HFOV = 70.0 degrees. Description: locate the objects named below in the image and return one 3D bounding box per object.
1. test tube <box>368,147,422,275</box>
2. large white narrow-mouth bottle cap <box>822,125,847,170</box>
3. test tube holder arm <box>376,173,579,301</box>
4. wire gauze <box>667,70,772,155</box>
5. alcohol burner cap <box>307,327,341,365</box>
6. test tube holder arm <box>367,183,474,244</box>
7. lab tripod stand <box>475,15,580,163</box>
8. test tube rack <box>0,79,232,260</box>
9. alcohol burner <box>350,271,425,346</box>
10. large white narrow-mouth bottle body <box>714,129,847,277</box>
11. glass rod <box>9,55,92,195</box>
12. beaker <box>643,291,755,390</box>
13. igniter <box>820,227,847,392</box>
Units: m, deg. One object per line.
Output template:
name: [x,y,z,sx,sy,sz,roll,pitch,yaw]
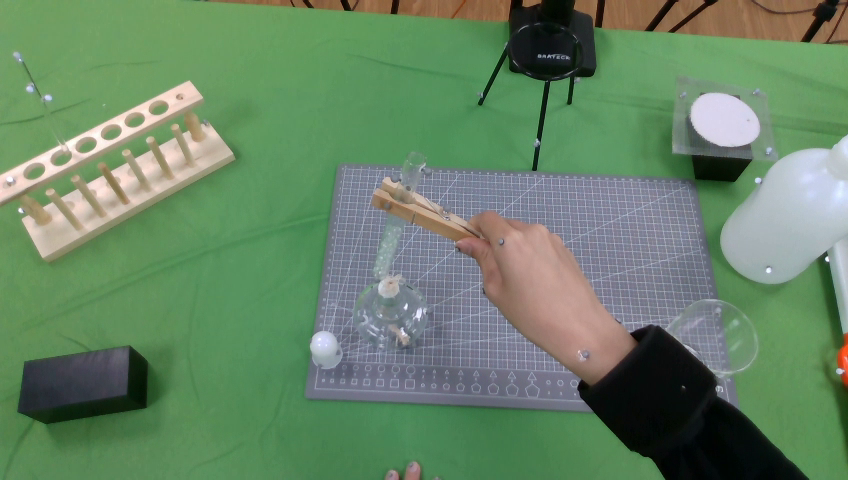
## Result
test tube: [-0.026,-0.018,0.495,0.017,0.151,0.017,9,51,-11]
large white narrow-mouth bottle cap: [0.394,-0.086,0.564,0.038,0.024,0.037,1,61,-1]
test tube holder arm: [0.040,-0.003,0.469,0.178,0.015,0.013,29,51,7]
wire gauze: [0.362,-0.157,0.749,0.121,0.011,0.124,9,62,4]
alcohol burner cap: [-0.105,0.108,0.628,0.034,0.048,0.033,0,63,1]
test tube holder arm: [-0.002,-0.020,0.470,0.088,0.015,0.010,23,50,2]
lab tripod stand: [0.135,-0.191,0.746,0.148,0.132,0.147,1,63,-2]
test tube rack: [-0.357,-0.084,0.702,0.242,0.086,0.066,-34,68,-18]
alcohol burner: [-0.037,0.063,0.613,0.078,0.120,0.077,2,60,-3]
large white narrow-mouth bottle body: [0.393,-0.043,0.639,0.102,0.196,0.101,1,61,-1]
glass rod: [-0.390,-0.111,0.641,0.008,0.201,0.008,3,53,-4]
beaker: [0.266,0.105,0.607,0.084,0.101,0.073,8,61,4]
igniter: [0.466,0.104,0.657,0.057,0.025,0.274,12,61,-6]
